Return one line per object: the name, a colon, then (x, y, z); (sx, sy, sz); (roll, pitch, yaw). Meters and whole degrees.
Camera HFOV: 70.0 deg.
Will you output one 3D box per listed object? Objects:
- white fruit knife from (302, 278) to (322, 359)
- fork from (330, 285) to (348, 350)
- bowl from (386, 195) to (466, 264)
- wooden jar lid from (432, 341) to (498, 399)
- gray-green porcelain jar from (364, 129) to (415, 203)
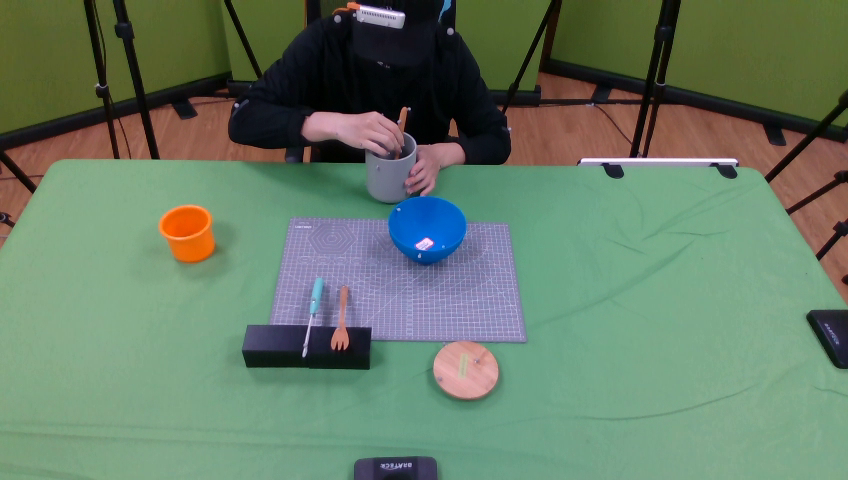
white fruit knife: (-0.189, 0.126, 1.020); (0.016, 0.027, 0.206); (0, 33, -2)
fork: (-0.140, 0.127, 1.021); (0.028, 0.019, 0.206); (-5, 28, -2)
bowl: (0.002, -0.007, 1.162); (0.151, 0.077, 0.150); (2, 46, -2)
wooden jar lid: (0.067, 0.216, 0.997); (0.108, 0.021, 0.107); (1, 46, -1)
gray-green porcelain jar: (-0.073, -0.149, 1.264); (0.106, 0.127, 0.105); (2, 46, -2)
